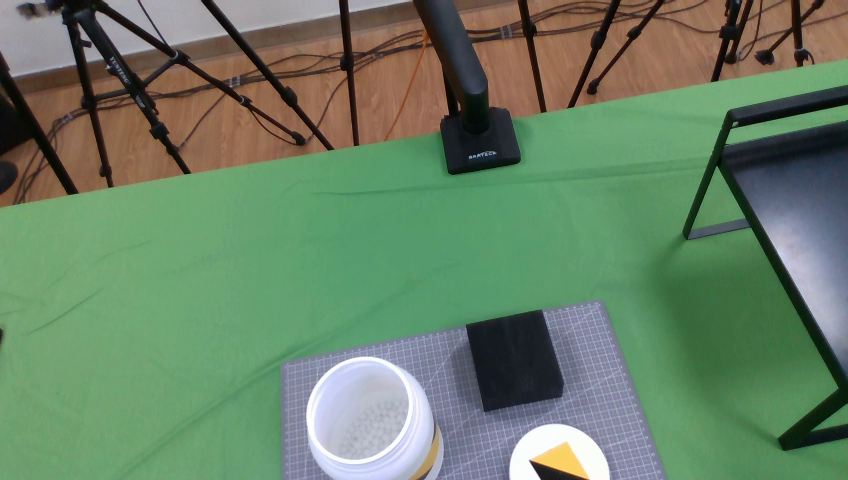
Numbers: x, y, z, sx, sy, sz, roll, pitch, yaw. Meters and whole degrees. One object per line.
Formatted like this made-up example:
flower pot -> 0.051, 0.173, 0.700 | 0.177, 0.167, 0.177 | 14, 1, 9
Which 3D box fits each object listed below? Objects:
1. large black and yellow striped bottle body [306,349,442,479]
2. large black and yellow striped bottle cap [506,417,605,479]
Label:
large black and yellow striped bottle body -> -0.054, 0.206, 0.675 | 0.130, 0.186, 0.129 | -4, 58, 6
large black and yellow striped bottle cap -> 0.153, 0.265, 0.708 | 0.115, 0.019, 0.114 | -3, 57, 5
